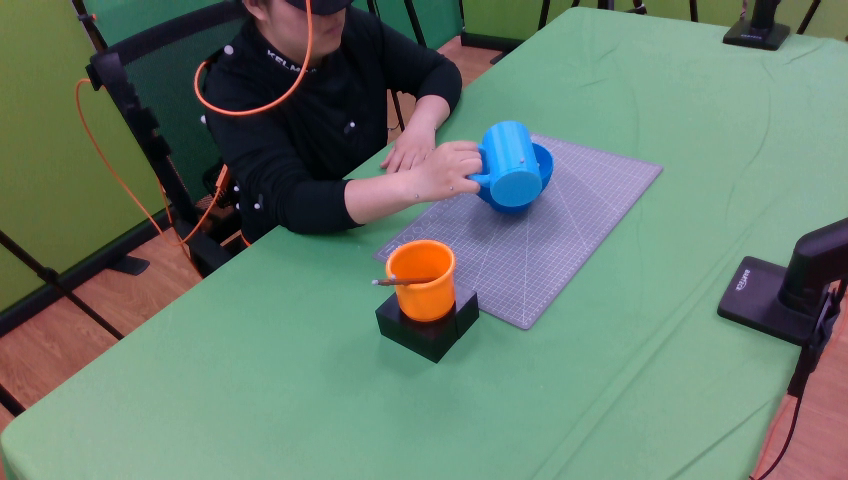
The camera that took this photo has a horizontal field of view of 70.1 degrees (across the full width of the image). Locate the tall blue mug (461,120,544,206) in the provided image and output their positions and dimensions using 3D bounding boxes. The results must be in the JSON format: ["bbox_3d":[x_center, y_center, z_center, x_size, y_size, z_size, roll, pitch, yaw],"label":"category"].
[{"bbox_3d":[0.118,-0.119,0.902,0.108,0.077,0.107,16,47,-26],"label":"tall blue mug"}]

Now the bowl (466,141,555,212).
[{"bbox_3d":[0.145,-0.100,1.025,0.151,0.077,0.150,-5,40,5],"label":"bowl"}]

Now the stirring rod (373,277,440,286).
[{"bbox_3d":[-0.018,0.051,0.758,0.014,0.006,0.177,13,3,23],"label":"stirring rod"}]
